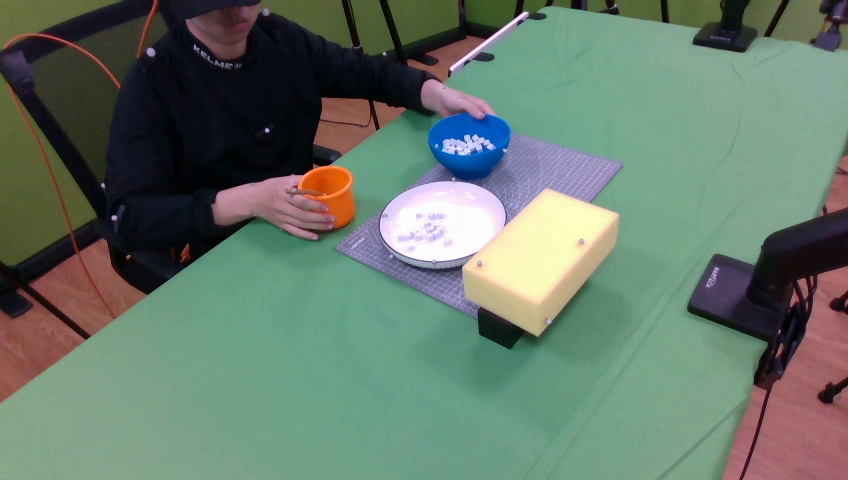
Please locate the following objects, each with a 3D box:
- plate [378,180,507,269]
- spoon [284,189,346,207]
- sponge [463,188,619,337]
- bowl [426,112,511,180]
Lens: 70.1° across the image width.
[{"bbox_3d":[0.031,-0.022,0.974,0.209,0.038,0.208,-4,40,4],"label":"plate"},{"bbox_3d":[-0.176,-0.070,0.970,0.041,0.021,0.194,4,-3,16],"label":"spoon"},{"bbox_3d":[0.160,0.022,0.814,0.117,0.061,0.207,24,50,32],"label":"sponge"},{"bbox_3d":[0.084,-0.161,1.098,0.151,0.077,0.150,-4,40,4],"label":"bowl"}]
